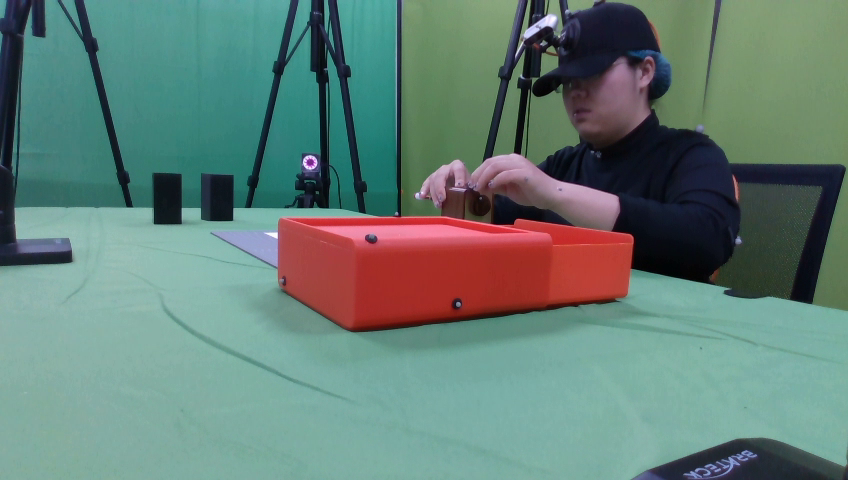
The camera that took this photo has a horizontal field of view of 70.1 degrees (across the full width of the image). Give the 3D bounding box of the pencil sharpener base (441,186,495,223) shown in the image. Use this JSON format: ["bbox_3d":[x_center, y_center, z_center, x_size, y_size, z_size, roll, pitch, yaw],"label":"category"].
[{"bbox_3d":[0.071,-0.032,0.989,0.061,0.107,0.076,-2,9,-30],"label":"pencil sharpener base"}]

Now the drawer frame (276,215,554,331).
[{"bbox_3d":[-0.015,0.022,0.610,0.215,0.082,0.200,-2,9,-32],"label":"drawer frame"}]

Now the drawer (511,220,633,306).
[{"bbox_3d":[0.085,0.022,0.674,0.213,0.073,0.193,-3,9,-32],"label":"drawer"}]

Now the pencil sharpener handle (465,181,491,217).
[{"bbox_3d":[0.089,-0.064,0.935,0.036,0.068,0.030,-46,28,-16],"label":"pencil sharpener handle"}]

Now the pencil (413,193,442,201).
[{"bbox_3d":[0.032,-0.071,1.055,0.012,0.012,0.193,-2,8,-31],"label":"pencil"}]
